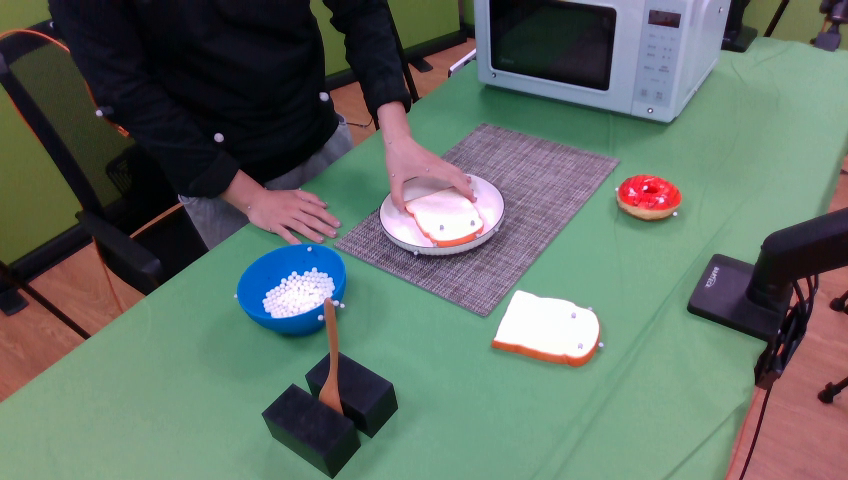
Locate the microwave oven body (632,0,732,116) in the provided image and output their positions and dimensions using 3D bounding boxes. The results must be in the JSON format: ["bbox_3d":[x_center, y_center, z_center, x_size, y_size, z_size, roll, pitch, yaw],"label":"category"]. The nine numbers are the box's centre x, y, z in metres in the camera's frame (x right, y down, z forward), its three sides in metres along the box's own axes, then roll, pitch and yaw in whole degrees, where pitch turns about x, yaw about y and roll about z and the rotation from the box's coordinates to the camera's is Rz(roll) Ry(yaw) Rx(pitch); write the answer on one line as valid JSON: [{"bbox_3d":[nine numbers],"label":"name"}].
[{"bbox_3d":[0.377,-0.462,1.267,0.438,0.261,0.327,21,49,30],"label":"microwave oven body"}]

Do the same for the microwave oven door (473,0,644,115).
[{"bbox_3d":[0.257,-0.396,1.199,0.353,0.245,0.039,21,48,29],"label":"microwave oven door"}]

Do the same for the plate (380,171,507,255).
[{"bbox_3d":[0.033,-0.042,0.996,0.207,0.039,0.206,-4,40,4],"label":"plate"}]

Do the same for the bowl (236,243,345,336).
[{"bbox_3d":[-0.180,0.082,0.855,0.151,0.077,0.150,-4,41,4],"label":"bowl"}]

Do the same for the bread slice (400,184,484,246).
[{"bbox_3d":[0.037,-0.038,0.990,0.107,0.018,0.133,-23,43,-17],"label":"bread slice"}]

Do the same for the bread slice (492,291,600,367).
[{"bbox_3d":[0.169,0.118,0.811,0.131,0.019,0.105,11,44,21],"label":"bread slice"}]

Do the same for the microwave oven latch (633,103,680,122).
[{"bbox_3d":[0.444,-0.249,1.157,0.078,0.029,0.030,21,49,30],"label":"microwave oven latch"}]

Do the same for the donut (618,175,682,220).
[{"bbox_3d":[0.366,-0.070,0.981,0.099,0.048,0.098,-3,39,3],"label":"donut"}]

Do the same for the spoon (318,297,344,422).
[{"bbox_3d":[-0.107,0.139,0.687,0.041,0.194,0.022,27,37,32],"label":"spoon"}]
